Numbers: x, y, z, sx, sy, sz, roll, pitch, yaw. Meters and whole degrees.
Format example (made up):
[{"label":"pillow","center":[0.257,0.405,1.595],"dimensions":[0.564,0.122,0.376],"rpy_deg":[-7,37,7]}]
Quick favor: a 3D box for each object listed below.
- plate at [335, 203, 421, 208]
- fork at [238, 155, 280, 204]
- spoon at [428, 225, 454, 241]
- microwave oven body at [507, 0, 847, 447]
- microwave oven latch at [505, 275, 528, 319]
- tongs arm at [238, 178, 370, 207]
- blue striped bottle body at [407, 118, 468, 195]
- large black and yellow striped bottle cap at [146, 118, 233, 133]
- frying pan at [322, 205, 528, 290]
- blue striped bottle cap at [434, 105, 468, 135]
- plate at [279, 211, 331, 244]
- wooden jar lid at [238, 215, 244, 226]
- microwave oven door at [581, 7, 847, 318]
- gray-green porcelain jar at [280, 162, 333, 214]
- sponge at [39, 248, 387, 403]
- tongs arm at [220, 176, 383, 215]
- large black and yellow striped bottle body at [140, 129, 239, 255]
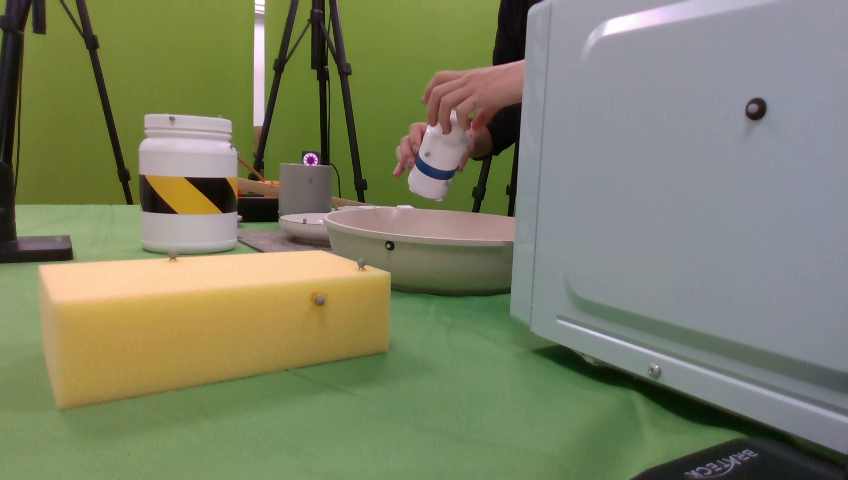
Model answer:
[{"label":"plate","center":[-0.089,-0.053,1.309],"dimensions":[0.208,0.039,0.207],"rpy_deg":[2,8,0]},{"label":"fork","center":[-0.396,-0.143,1.486],"dimensions":[0.028,0.018,0.208],"rpy_deg":[20,-26,45]},{"label":"spoon","center":[0.024,-0.019,1.124],"dimensions":[0.042,0.021,0.193],"rpy_deg":[-17,10,-4]},{"label":"microwave oven body","center":[0.331,-0.042,0.425],"dimensions":[0.444,0.260,0.324],"rpy_deg":[-2,8,-31]},{"label":"microwave oven latch","center":[0.100,0.041,0.471],"dimensions":[0.079,0.029,0.030],"rpy_deg":[-1,7,-28]},{"label":"tongs arm","center":[-0.241,-0.095,1.373],"dimensions":[0.387,0.026,0.050],"rpy_deg":[9,-1,-37]},{"label":"blue striped bottle body","center":[0.022,-0.128,0.864],"dimensions":[0.063,0.120,0.063],"rpy_deg":[13,42,-12]},{"label":"large black and yellow striped bottle cap","center":[-0.333,-0.163,0.861],"dimensions":[0.115,0.019,0.115],"rpy_deg":[1,9,0]},{"label":"frying pan","center":[0.110,-0.018,0.800],"dimensions":[0.490,0.102,0.305],"rpy_deg":[-12,16,-30]},{"label":"blue striped bottle cap","center":[0.037,-0.166,0.830],"dimensions":[0.045,0.020,0.044],"rpy_deg":[15,43,-14]},{"label":"plate","center":[-0.139,-0.022,1.021],"dimensions":[0.209,0.038,0.209],"rpy_deg":[2,8,0]},{"label":"wooden jar lid","center":[-0.404,-0.037,1.169],"dimensions":[0.108,0.020,0.108],"rpy_deg":[3,7,0]},{"label":"microwave oven door","center":[0.295,-0.067,0.569],"dimensions":[0.358,0.243,0.039],"rpy_deg":[-3,8,-31]},{"label":"gray-green porcelain jar","center":[-0.238,-0.092,1.221],"dimensions":[0.106,0.126,0.106],"rpy_deg":[2,7,0]},{"label":"sponge","center":[-0.142,0.047,0.420],"dimensions":[0.208,0.061,0.117],"rpy_deg":[-3,8,-37]},{"label":"tongs arm","center":[-0.285,-0.103,1.445],"dimensions":[0.389,0.027,0.028],"rpy_deg":[9,-4,-23]},{"label":"large black and yellow striped bottle body","center":[-0.336,-0.078,0.871],"dimensions":[0.131,0.184,0.130],"rpy_deg":[2,8,0]}]
